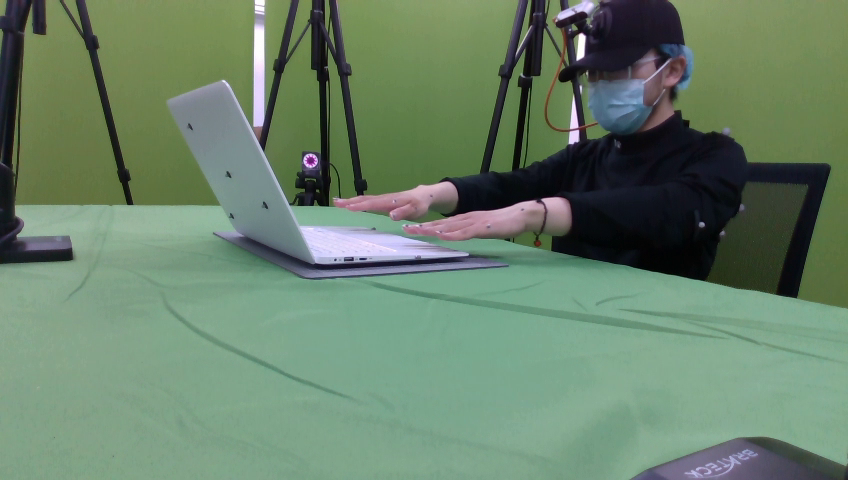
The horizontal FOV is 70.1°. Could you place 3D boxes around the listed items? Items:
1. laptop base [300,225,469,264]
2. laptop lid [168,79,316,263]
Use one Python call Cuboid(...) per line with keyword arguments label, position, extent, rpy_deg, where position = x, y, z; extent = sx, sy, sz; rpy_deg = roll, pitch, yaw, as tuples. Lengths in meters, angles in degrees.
Cuboid(label="laptop base", position=(-0.124, 0.005, 0.936), extent=(0.237, 0.023, 0.352), rpy_deg=(2, 6, -33))
Cuboid(label="laptop lid", position=(-0.264, -0.093, 0.831), extent=(0.013, 0.242, 0.355), rpy_deg=(-33, 25, -25))
